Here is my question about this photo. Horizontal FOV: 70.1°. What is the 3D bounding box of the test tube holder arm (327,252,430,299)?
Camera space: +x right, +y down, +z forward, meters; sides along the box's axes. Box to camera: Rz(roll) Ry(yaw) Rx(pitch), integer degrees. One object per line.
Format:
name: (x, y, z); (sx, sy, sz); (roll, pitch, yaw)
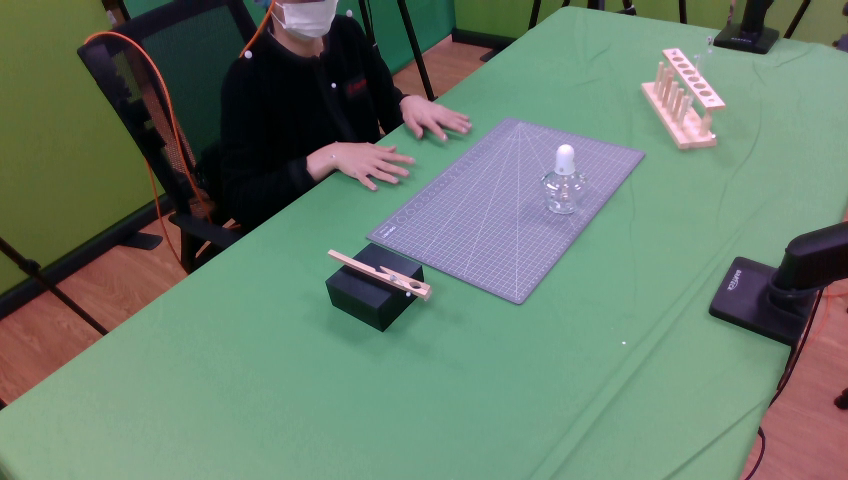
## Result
test tube holder arm: (-0.068, 0.049, 0.855); (0.177, 0.015, 0.013); (18, 54, 27)

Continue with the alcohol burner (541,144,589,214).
alcohol burner: (0.229, -0.102, 0.983); (0.078, 0.119, 0.077); (-6, 40, 5)

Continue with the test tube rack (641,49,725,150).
test tube rack: (0.495, -0.279, 1.175); (0.067, 0.085, 0.241); (-5, 41, 3)

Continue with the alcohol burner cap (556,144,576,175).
alcohol burner cap: (0.225, -0.129, 0.959); (0.034, 0.048, 0.033); (-6, 37, 5)

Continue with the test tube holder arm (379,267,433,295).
test tube holder arm: (-0.027, 0.057, 0.837); (0.087, 0.015, 0.010); (18, 54, 28)

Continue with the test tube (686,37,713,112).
test tube: (0.509, -0.306, 1.128); (0.017, 0.151, 0.017); (-1, 45, 1)
